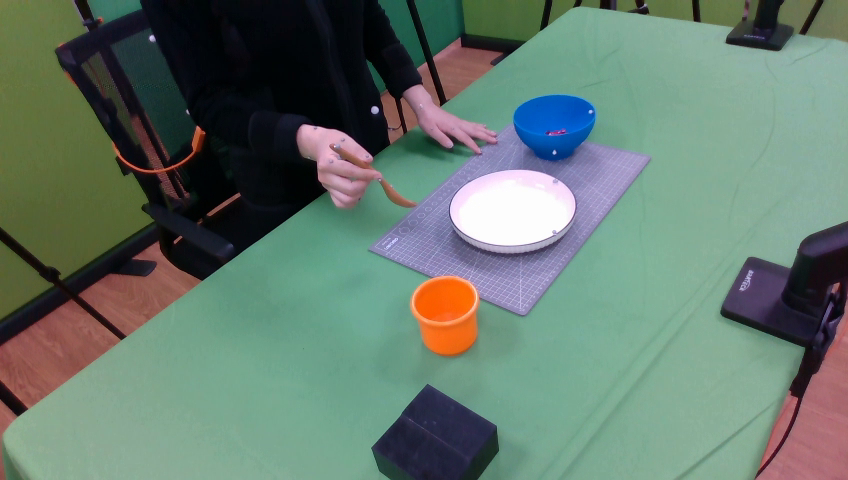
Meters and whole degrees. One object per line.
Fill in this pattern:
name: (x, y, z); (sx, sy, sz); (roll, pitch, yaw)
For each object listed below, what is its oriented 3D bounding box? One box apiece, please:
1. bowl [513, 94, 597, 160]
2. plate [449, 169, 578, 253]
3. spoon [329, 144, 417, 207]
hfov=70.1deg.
bowl: (0.244, -0.202, 1.130); (0.151, 0.077, 0.150); (-6, 40, 5)
plate: (0.146, -0.044, 0.993); (0.209, 0.038, 0.208); (-5, 40, 5)
spoon: (-0.069, -0.088, 0.838); (0.041, 0.195, 0.021); (22, 80, 38)
